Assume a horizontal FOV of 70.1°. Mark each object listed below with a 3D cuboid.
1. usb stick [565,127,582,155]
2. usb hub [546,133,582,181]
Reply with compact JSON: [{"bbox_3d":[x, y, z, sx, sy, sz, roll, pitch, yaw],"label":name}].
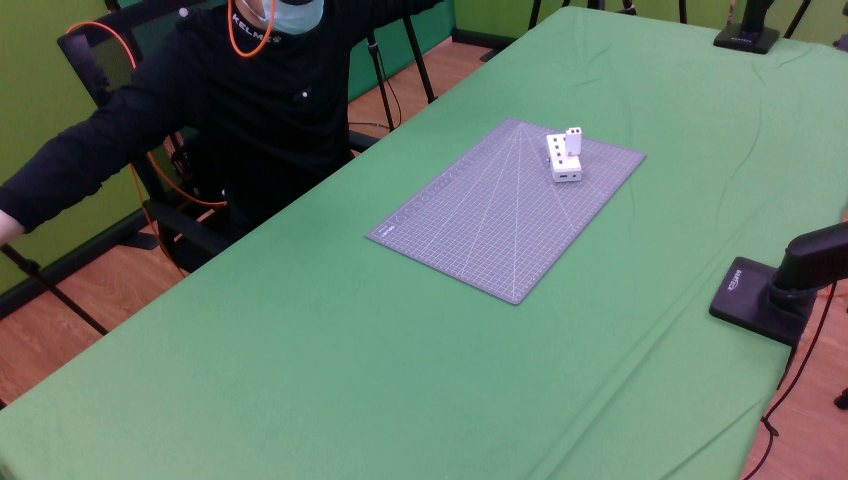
[{"bbox_3d":[0.266,-0.170,1.077,0.027,0.059,0.021,-3,40,2],"label":"usb stick"},{"bbox_3d":[0.255,-0.153,1.103,0.049,0.025,0.124,-3,41,5],"label":"usb hub"}]
